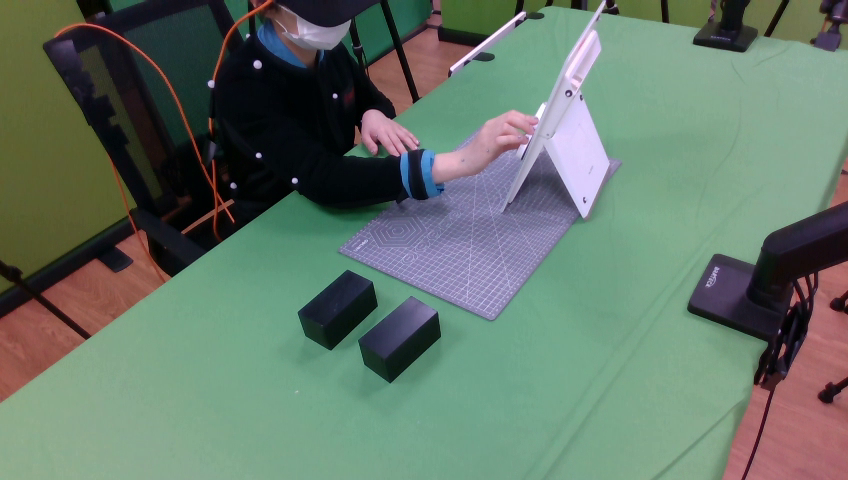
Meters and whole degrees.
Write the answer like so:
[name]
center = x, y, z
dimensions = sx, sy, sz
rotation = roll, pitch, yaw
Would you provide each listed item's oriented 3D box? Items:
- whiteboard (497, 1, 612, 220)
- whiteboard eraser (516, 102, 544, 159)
[whiteboard]
center = 0.260, -0.177, 0.963
dimensions = 0.143, 0.306, 0.217
rotation = 28, 49, 9
[whiteboard eraser]
center = 0.174, -0.173, 0.961
dimensions = 0.019, 0.041, 0.101
rotation = 26, 80, 7
